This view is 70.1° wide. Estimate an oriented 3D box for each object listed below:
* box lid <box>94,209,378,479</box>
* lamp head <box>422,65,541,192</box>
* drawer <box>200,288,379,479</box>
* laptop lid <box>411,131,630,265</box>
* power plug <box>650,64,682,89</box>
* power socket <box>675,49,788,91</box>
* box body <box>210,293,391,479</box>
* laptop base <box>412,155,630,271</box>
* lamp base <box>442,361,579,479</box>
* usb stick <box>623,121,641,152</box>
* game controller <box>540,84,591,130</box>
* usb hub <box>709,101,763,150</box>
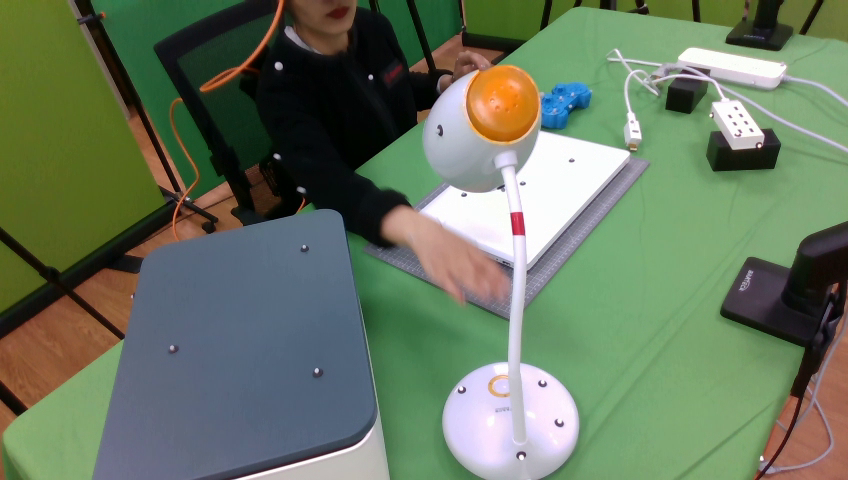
[{"bbox_3d":[-0.202,0.094,0.680,0.264,0.015,0.368,-13,39,-5],"label":"box lid"},{"bbox_3d":[0.060,-0.106,0.560,0.113,0.112,0.122,-16,0,-8],"label":"lamp head"},{"bbox_3d":[-0.172,0.176,0.760,0.195,0.073,0.210,-13,42,-8],"label":"drawer"},{"bbox_3d":[0.172,-0.094,1.050,0.239,0.013,0.358,23,49,36],"label":"laptop lid"},{"bbox_3d":[0.498,-0.341,1.263,0.035,0.052,0.072,20,10,-7],"label":"power plug"},{"bbox_3d":[0.646,-0.363,1.284,0.225,0.033,0.072,26,52,35],"label":"power socket"},{"bbox_3d":[-0.190,0.161,0.723,0.255,0.161,0.361,-13,40,-5],"label":"box body"},{"bbox_3d":[0.175,-0.085,1.055,0.233,0.023,0.355,20,48,36],"label":"laptop base"},{"bbox_3d":[0.094,0.158,0.657,0.161,0.181,0.178,-14,42,-5],"label":"lamp base"},{"bbox_3d":[0.389,-0.191,1.129,0.021,0.027,0.059,8,62,-8],"label":"usb stick"},{"bbox_3d":[0.277,-0.282,1.251,0.096,0.052,0.155,27,52,30],"label":"game controller"},{"bbox_3d":[0.534,-0.199,1.040,0.049,0.025,0.124,-5,39,8],"label":"usb hub"}]
